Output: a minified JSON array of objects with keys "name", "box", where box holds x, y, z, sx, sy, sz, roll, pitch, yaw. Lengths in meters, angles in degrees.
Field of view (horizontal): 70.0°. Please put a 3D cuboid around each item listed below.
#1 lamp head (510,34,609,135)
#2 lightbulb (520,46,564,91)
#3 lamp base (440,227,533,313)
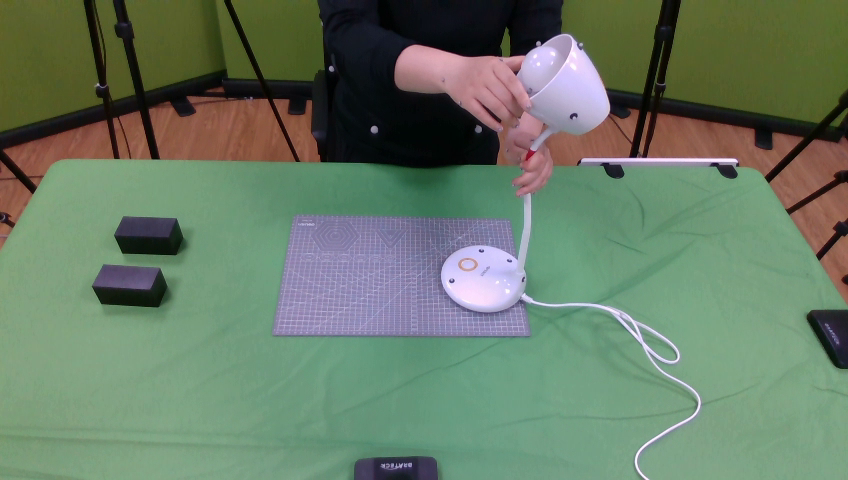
[{"name":"lamp head","box":[0.193,-0.199,0.835,0.123,0.112,0.112,39,38,-28]},{"name":"lightbulb","box":[0.177,-0.220,0.834,0.108,0.059,0.059,36,36,-29]},{"name":"lamp base","box":[0.126,0.021,1.072,0.179,0.181,0.160,22,49,13]}]
